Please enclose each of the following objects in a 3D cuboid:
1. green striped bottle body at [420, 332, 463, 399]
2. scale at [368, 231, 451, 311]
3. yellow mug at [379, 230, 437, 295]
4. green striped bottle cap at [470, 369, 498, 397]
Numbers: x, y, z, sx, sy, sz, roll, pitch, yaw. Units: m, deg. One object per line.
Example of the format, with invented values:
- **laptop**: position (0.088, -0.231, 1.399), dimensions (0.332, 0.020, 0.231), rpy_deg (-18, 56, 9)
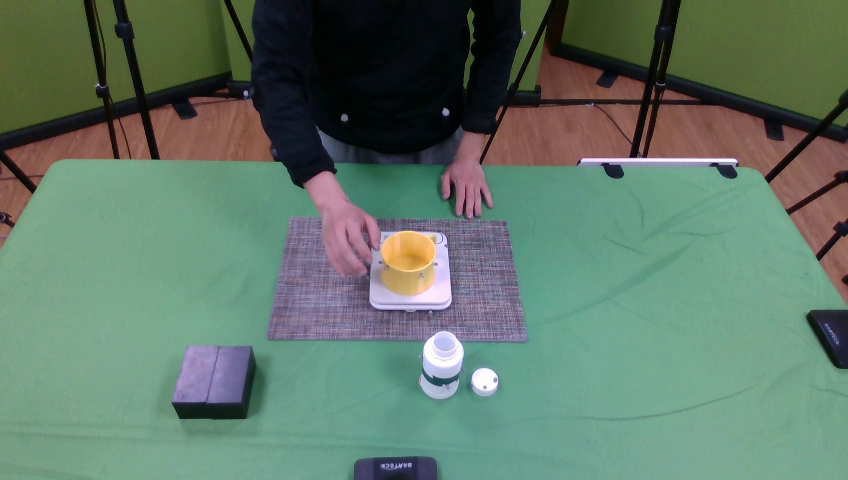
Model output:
- **green striped bottle body**: position (0.027, 0.193, 0.947), dimensions (0.063, 0.120, 0.063), rpy_deg (2, 46, -2)
- **scale**: position (-0.029, 0.048, 1.137), dimensions (0.149, 0.032, 0.199), rpy_deg (1, 46, -4)
- **yellow mug**: position (-0.020, 0.031, 1.089), dimensions (0.099, 0.064, 0.130), rpy_deg (31, 51, 24)
- **green striped bottle cap**: position (0.098, 0.232, 0.988), dimensions (0.044, 0.020, 0.044), rpy_deg (2, 40, -1)
